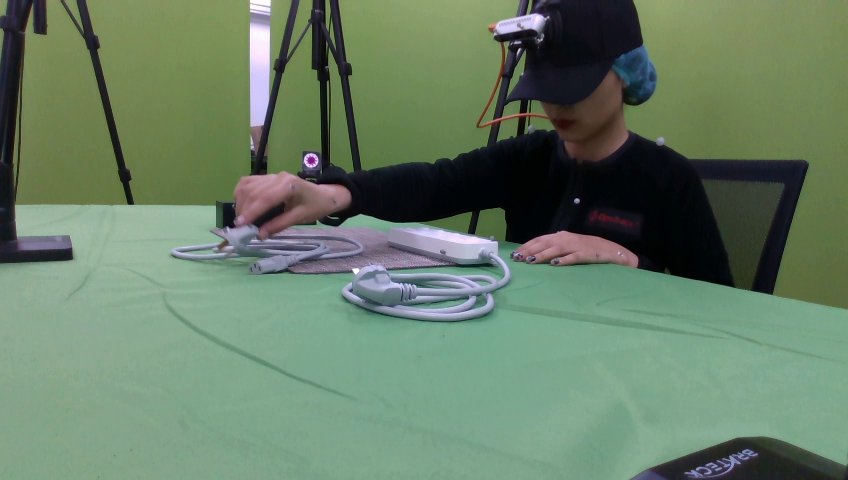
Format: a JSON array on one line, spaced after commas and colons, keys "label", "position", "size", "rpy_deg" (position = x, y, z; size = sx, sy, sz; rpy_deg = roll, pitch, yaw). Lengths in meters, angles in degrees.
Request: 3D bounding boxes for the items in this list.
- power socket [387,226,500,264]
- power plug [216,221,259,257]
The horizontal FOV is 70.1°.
[{"label": "power socket", "position": [0.023, 0.004, 0.912], "size": [0.072, 0.032, 0.225], "rpy_deg": [-3, 10, -34]}, {"label": "power plug", "position": [-0.224, 0.004, 0.738], "size": [0.053, 0.035, 0.072], "rpy_deg": [-39, -14, -7]}]
